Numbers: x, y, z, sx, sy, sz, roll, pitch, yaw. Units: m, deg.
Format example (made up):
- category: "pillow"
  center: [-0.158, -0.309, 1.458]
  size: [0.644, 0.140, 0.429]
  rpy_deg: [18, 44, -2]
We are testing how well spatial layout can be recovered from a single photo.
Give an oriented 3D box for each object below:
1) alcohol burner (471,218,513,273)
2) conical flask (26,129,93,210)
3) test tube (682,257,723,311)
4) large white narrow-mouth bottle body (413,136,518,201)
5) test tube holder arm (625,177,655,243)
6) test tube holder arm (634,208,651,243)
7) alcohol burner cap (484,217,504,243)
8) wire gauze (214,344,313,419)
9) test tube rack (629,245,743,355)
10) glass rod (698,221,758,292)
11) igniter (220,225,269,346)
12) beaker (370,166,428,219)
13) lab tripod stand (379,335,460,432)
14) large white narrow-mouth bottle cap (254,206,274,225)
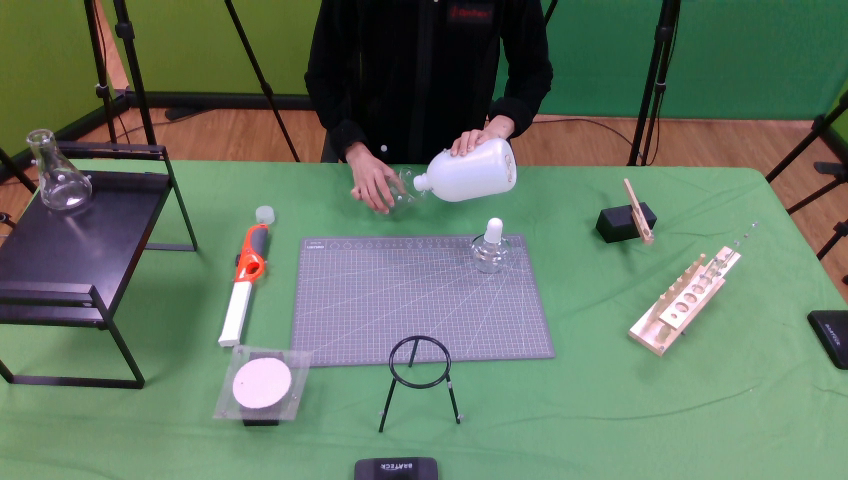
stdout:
- category: "alcohol burner"
  center: [0.128, 0.005, 1.132]
  size: [0.078, 0.120, 0.077]
  rpy_deg: [0, 47, 0]
- category: "conical flask"
  center: [-0.575, -0.113, 0.946]
  size: [0.075, 0.122, 0.075]
  rpy_deg: [2, 46, -2]
- category: "test tube"
  center: [0.475, 0.080, 1.037]
  size: [0.017, 0.151, 0.017]
  rpy_deg: [1, 50, -1]
- category: "large white narrow-mouth bottle body"
  center: [0.071, -0.128, 1.144]
  size: [0.194, 0.102, 0.101]
  rpy_deg: [-10, 41, 25]
- category: "test tube holder arm"
  center: [0.433, -0.063, 1.220]
  size: [0.013, 0.015, 0.177]
  rpy_deg: [1, 47, -3]
- category: "test tube holder arm"
  center: [0.428, -0.030, 1.189]
  size: [0.010, 0.015, 0.087]
  rpy_deg: [1, 47, -2]
- category: "alcohol burner cap"
  center: [0.129, -0.022, 1.107]
  size: [0.034, 0.048, 0.033]
  rpy_deg: [4, 41, -3]
- category: "wire gauze"
  center: [-0.241, 0.213, 0.916]
  size: [0.121, 0.011, 0.124]
  rpy_deg: [5, 46, 1]
- category: "test tube rack"
  center: [0.474, 0.095, 1.091]
  size: [0.242, 0.085, 0.066]
  rpy_deg: [-34, 56, -31]
- category: "glass rod"
  center: [0.527, 0.035, 1.060]
  size: [0.008, 0.200, 0.008]
  rpy_deg: [5, 49, -6]
- category: "igniter"
  center: [-0.323, 0.072, 1.100]
  size: [0.057, 0.025, 0.275]
  rpy_deg: [-6, 46, 5]
- category: "beaker"
  center: [-0.052, -0.091, 1.214]
  size: [0.084, 0.100, 0.073]
  rpy_deg: [35, 43, -30]
- category: "lab tripod stand"
  center: [-0.011, 0.214, 0.911]
  size: [0.148, 0.132, 0.147]
  rpy_deg: [1, 45, 0]
- category: "large white narrow-mouth bottle cap"
  center: [-0.323, -0.049, 1.222]
  size: [0.038, 0.024, 0.037]
  rpy_deg: [2, 47, -2]
